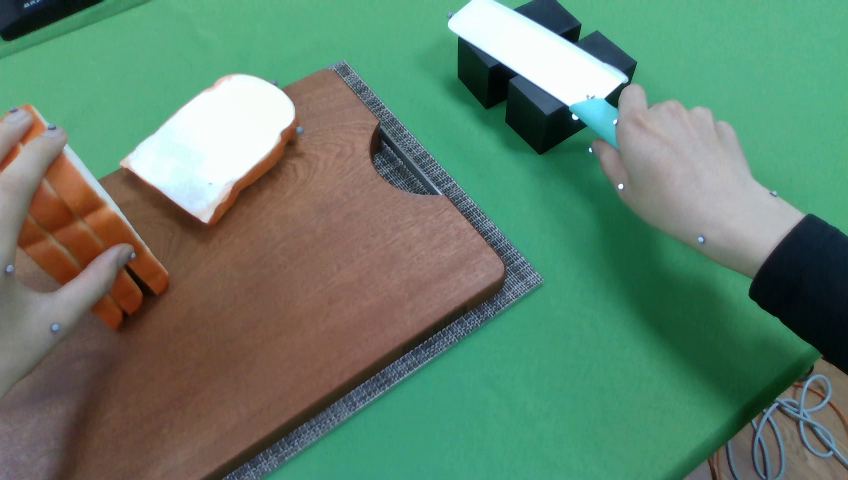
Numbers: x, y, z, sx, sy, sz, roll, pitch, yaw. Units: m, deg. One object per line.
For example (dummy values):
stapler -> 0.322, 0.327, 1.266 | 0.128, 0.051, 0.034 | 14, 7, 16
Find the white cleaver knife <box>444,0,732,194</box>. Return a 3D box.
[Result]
white cleaver knife -> 0.131, -0.135, 0.502 | 0.066, 0.022, 0.284 | -40, 67, -19

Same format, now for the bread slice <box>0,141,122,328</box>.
bread slice -> -0.252, -0.013, 0.400 | 0.018, 0.135, 0.106 | -34, 58, -18

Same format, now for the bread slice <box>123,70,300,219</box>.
bread slice -> -0.165, -0.085, 0.499 | 0.104, 0.019, 0.131 | 32, 70, 22
